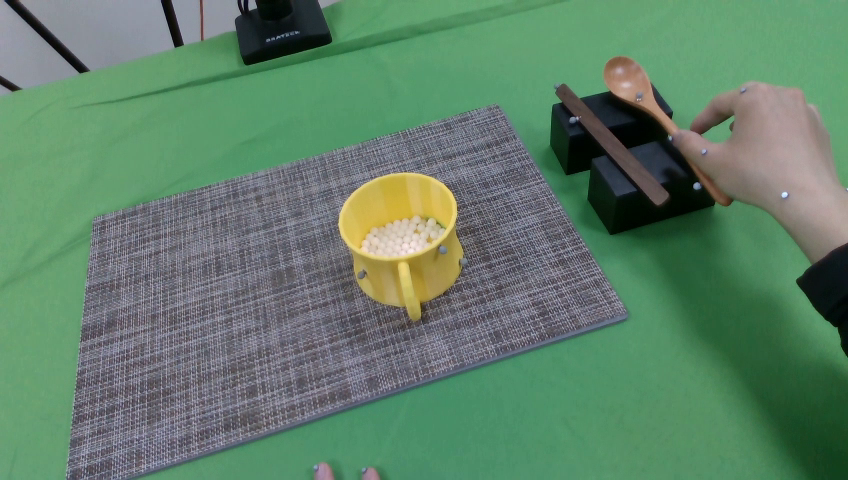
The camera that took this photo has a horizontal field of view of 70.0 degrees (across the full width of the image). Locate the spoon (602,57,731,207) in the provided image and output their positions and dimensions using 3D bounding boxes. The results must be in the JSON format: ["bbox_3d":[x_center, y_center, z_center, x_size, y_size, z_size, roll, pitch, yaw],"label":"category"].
[{"bbox_3d":[0.213,-0.101,0.539,0.041,0.022,0.191,-16,52,-7],"label":"spoon"}]

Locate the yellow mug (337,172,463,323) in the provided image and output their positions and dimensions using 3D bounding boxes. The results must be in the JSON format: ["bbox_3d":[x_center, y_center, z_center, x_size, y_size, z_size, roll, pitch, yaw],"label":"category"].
[{"bbox_3d":[-0.017,0.010,0.512,0.100,0.064,0.129,-11,50,1],"label":"yellow mug"}]

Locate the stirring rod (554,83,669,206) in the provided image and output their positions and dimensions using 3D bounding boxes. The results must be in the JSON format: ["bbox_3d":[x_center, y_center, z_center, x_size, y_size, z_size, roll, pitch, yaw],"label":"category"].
[{"bbox_3d":[0.162,-0.091,0.541,0.014,0.006,0.174,-45,47,21],"label":"stirring rod"}]
